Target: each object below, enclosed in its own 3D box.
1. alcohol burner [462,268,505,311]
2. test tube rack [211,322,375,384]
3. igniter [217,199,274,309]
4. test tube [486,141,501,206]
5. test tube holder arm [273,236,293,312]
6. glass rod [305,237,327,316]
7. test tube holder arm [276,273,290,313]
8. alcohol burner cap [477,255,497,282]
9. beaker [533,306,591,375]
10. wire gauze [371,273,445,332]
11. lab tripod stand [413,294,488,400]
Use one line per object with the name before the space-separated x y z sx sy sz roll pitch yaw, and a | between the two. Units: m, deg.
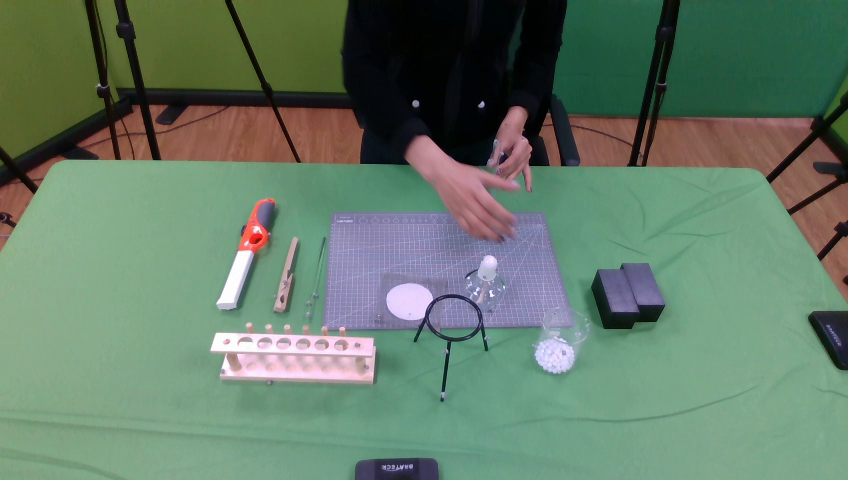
alcohol burner | 0.108 0.071 1.072 0.078 0.119 0.077 4 45 -4
test tube rack | -0.202 0.176 0.969 0.242 0.085 0.066 3 46 -2
igniter | -0.336 0.017 1.153 0.057 0.025 0.275 -2 45 8
test tube | 0.132 -0.124 1.156 0.017 0.151 0.017 1 45 0
test tube holder arm | -0.260 0.058 1.122 0.013 0.015 0.177 29 38 -30
glass rod | -0.201 0.063 1.131 0.008 0.008 0.198 4 44 0
test tube holder arm | -0.254 0.093 1.094 0.010 0.015 0.087 30 38 -28
alcohol burner cap | 0.110 0.047 1.046 0.034 0.048 0.033 2 52 -2
beaker | 0.226 0.168 1.002 0.084 0.101 0.073 -5 47 -10
wire gauze | -0.028 0.108 1.100 0.125 0.011 0.121 7 45 4
lab tripod stand | 0.045 0.159 0.972 0.148 0.132 0.147 2 44 -2
